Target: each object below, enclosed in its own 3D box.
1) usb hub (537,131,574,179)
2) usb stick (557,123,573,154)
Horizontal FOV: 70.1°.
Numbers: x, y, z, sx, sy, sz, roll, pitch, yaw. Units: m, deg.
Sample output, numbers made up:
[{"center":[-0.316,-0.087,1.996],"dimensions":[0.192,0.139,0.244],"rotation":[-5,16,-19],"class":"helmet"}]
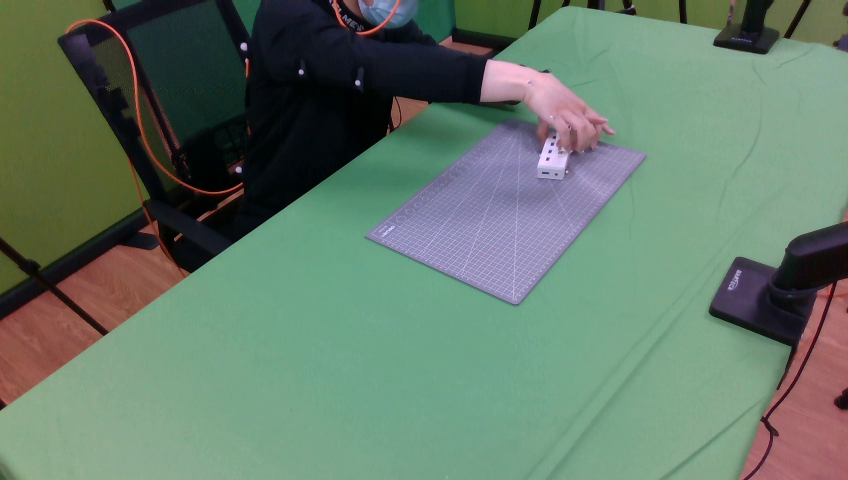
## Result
[{"center":[0.243,-0.158,1.112],"dimensions":[0.049,0.025,0.125],"rotation":[8,44,17],"class":"usb hub"},{"center":[0.250,-0.178,1.079],"dimensions":[0.027,0.059,0.021],"rotation":[7,40,11],"class":"usb stick"}]
